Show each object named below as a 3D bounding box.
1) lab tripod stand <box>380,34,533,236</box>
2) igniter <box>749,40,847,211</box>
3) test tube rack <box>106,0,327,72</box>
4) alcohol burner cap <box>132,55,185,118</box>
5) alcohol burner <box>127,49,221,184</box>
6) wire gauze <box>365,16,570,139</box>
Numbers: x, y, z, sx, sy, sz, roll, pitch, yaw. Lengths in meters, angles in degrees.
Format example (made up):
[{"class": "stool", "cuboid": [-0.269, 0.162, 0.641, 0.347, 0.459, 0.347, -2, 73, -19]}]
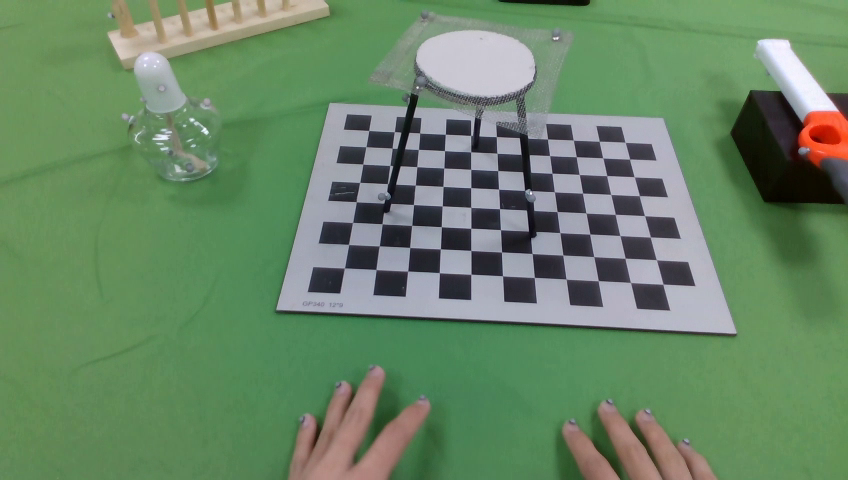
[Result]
[{"class": "lab tripod stand", "cuboid": [0.037, -0.082, 0.486, 0.148, 0.132, 0.147, 2, 48, -2]}, {"class": "igniter", "cuboid": [0.342, -0.097, 0.523, 0.057, 0.025, 0.274, 1, 46, 3]}, {"class": "test tube rack", "cuboid": [-0.237, -0.274, 0.684, 0.243, 0.086, 0.066, -24, 54, -22]}, {"class": "alcohol burner cap", "cuboid": [-0.218, -0.127, 0.492, 0.034, 0.048, 0.033, -1, 48, 1]}, {"class": "alcohol burner", "cuboid": [-0.217, -0.106, 0.516, 0.078, 0.120, 0.077, 0, 49, 1]}, {"class": "wire gauze", "cuboid": [0.035, -0.125, 0.433, 0.125, 0.011, 0.120, 17, 49, 11]}]
